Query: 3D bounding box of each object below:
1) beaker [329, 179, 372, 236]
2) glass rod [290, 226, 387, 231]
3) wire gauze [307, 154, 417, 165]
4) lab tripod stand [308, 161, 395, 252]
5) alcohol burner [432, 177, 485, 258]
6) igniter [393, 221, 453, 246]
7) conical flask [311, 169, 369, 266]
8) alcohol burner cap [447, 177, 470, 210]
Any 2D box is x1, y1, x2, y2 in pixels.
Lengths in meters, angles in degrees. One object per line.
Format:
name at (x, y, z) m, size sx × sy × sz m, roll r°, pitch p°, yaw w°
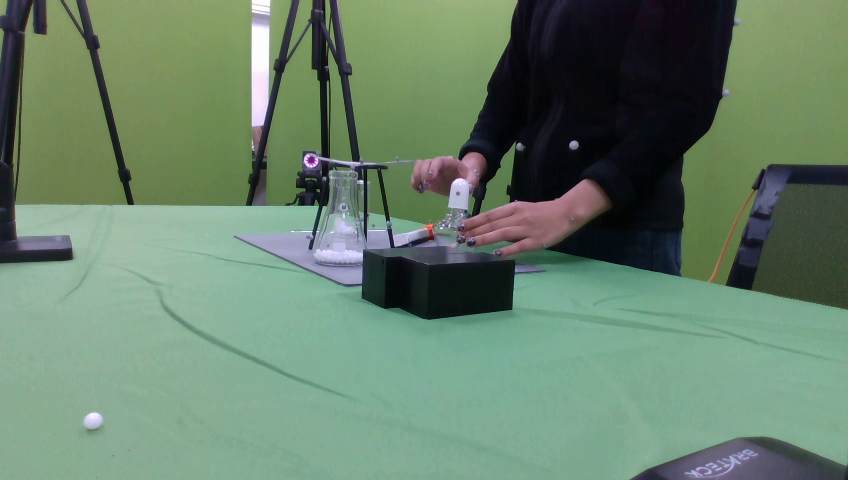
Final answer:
beaker at (-0.137, -0.061, 1.101) m, size 0.084 × 0.100 × 0.074 m, roll 4°, pitch 7°, yaw 21°
glass rod at (-0.161, -0.023, 1.177) m, size 0.201 × 0.008 × 0.008 m, roll -2°, pitch 8°, yaw -28°
wire gauze at (-0.094, -0.120, 0.913) m, size 0.122 × 0.011 × 0.124 m, roll -5°, pitch 11°, yaw -45°
lab tripod stand at (-0.098, -0.053, 0.919) m, size 0.148 × 0.131 × 0.148 m, roll 4°, pitch 7°, yaw 0°
alcohol burner at (0.052, -0.033, 0.894) m, size 0.078 × 0.119 × 0.078 m, roll 2°, pitch 9°, yaw 0°
igniter at (0.003, -0.015, 1.083) m, size 0.057 × 0.025 × 0.277 m, roll -13°, pitch 2°, yaw 18°
conical flask at (-0.107, -0.031, 0.786) m, size 0.075 × 0.122 × 0.075 m, roll 2°, pitch 8°, yaw 0°
alcohol burner cap at (0.052, -0.069, 0.889) m, size 0.034 × 0.048 × 0.034 m, roll 5°, pitch 3°, yaw 0°
